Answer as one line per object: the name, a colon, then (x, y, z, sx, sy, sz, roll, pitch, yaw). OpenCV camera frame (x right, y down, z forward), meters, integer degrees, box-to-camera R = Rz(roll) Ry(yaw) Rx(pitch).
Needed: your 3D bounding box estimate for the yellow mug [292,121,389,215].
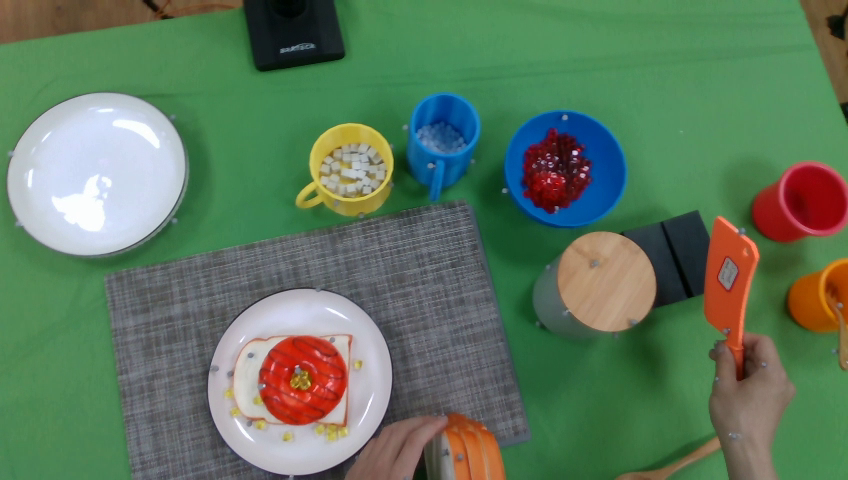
yellow mug: (-0.105, -0.080, 0.746, 0.131, 0.064, 0.099, -34, 81, -10)

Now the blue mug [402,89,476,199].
blue mug: (0.014, -0.108, 0.744, 0.082, 0.106, 0.116, 8, 76, -3)

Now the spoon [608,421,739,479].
spoon: (0.302, 0.263, 0.724, 0.194, 0.022, 0.041, -23, 62, -10)

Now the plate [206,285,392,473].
plate: (-0.141, 0.156, 0.699, 0.209, 0.038, 0.208, 1, 77, -5)

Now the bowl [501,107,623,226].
bowl: (0.165, -0.082, 0.765, 0.151, 0.077, 0.150, 1, 77, -4)

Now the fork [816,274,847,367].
fork: (0.484, 0.091, 0.716, 0.028, 0.018, 0.207, 49, 34, 1)

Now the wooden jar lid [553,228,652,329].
wooden jar lid: (0.190, 0.041, 0.649, 0.108, 0.021, 0.108, 2, 79, -7)

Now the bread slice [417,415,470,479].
bread slice: (0.020, 0.241, 0.648, 0.018, 0.134, 0.106, -5, 76, -15)

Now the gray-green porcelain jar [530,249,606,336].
gray-green porcelain jar: (0.185, 0.057, 0.709, 0.106, 0.127, 0.105, 1, 76, -5)

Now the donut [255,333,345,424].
donut: (-0.137, 0.152, 0.671, 0.099, 0.048, 0.098, 2, 78, -8)

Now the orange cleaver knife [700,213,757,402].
orange cleaver knife: (0.326, 0.076, 0.659, 0.012, 0.076, 0.212, -12, 112, -10)

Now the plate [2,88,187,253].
plate: (-0.392, -0.082, 0.736, 0.208, 0.039, 0.206, 1, 77, -5)

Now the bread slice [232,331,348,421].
bread slice: (-0.154, 0.158, 0.701, 0.132, 0.019, 0.104, 1, 76, -9)
